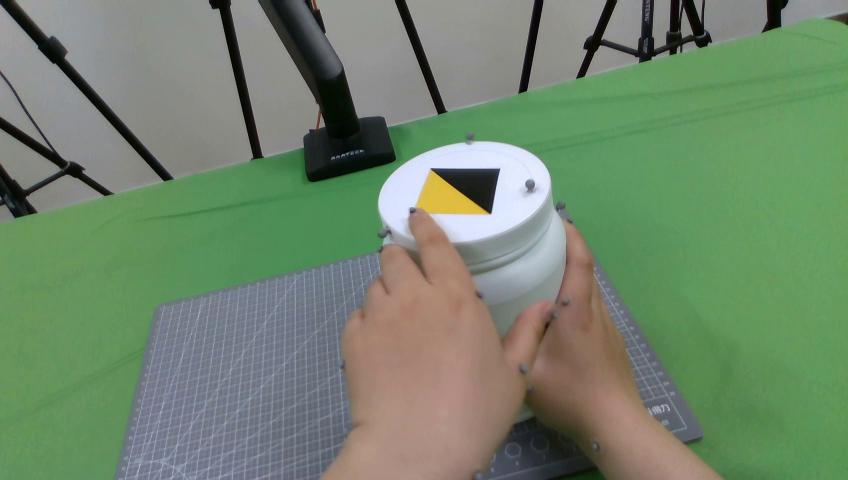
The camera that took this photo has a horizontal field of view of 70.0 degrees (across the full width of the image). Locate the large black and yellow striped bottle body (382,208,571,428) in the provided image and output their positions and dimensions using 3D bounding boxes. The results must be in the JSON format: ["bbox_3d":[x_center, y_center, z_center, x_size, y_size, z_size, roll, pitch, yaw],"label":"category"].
[{"bbox_3d":[0.042,0.037,0.453,0.130,0.186,0.129,-8,39,7],"label":"large black and yellow striped bottle body"}]

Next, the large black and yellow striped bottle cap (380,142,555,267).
[{"bbox_3d":[0.028,-0.027,0.400,0.115,0.019,0.114,-9,39,8],"label":"large black and yellow striped bottle cap"}]
